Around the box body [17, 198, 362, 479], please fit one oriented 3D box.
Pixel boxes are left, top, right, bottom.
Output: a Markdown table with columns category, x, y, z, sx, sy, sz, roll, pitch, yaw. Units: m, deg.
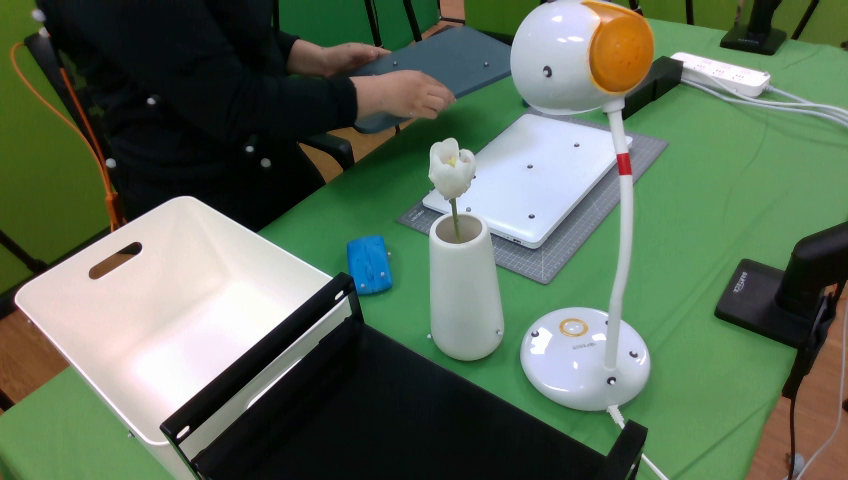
| category | x | y | z | sx | sy | sz | roll | pitch | yaw |
| --- | --- | --- | --- | --- | --- | --- | --- | --- | --- |
| box body | -0.285 | 0.123 | 0.766 | 0.361 | 0.161 | 0.255 | 25 | 49 | 33 |

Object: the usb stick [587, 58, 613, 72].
| category | x | y | z | sx | sy | sz | roll | pitch | yaw |
| --- | --- | --- | --- | --- | --- | --- | --- | --- | --- |
| usb stick | 0.401 | -0.399 | 1.381 | 0.059 | 0.027 | 0.021 | 0 | 49 | 21 |

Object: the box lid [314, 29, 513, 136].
| category | x | y | z | sx | sy | sz | roll | pitch | yaw |
| --- | --- | --- | --- | --- | --- | --- | --- | --- | --- |
| box lid | -0.006 | -0.316 | 1.169 | 0.373 | 0.015 | 0.261 | -27 | 42 | -17 |

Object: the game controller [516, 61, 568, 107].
| category | x | y | z | sx | sy | sz | roll | pitch | yaw |
| --- | --- | --- | --- | --- | --- | --- | --- | --- | --- |
| game controller | 0.259 | -0.352 | 1.336 | 0.097 | 0.052 | 0.154 | -3 | 41 | 2 |

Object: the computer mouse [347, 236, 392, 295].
| category | x | y | z | sx | sy | sz | roll | pitch | yaw |
| --- | --- | --- | --- | --- | --- | --- | --- | --- | --- |
| computer mouse | -0.086 | 0.035 | 0.936 | 0.063 | 0.041 | 0.116 | -8 | 44 | -5 |

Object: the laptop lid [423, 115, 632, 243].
| category | x | y | z | sx | sy | sz | roll | pitch | yaw |
| --- | --- | --- | --- | --- | --- | --- | --- | --- | --- |
| laptop lid | 0.190 | -0.126 | 1.081 | 0.239 | 0.013 | 0.358 | 23 | 48 | 34 |

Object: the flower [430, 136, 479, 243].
| category | x | y | z | sx | sy | sz | roll | pitch | yaw |
| --- | --- | --- | --- | --- | --- | --- | --- | --- | --- |
| flower | 0.041 | 0.012 | 0.690 | 0.044 | 0.363 | 0.038 | 16 | 62 | 14 |

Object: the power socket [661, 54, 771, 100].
| category | x | y | z | sx | sy | sz | roll | pitch | yaw |
| --- | --- | --- | --- | --- | --- | --- | --- | --- | --- |
| power socket | 0.615 | -0.348 | 1.285 | 0.072 | 0.033 | 0.225 | -36 | 48 | -29 |

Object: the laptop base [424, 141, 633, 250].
| category | x | y | z | sx | sy | sz | roll | pitch | yaw |
| --- | --- | --- | --- | --- | --- | --- | --- | --- | --- |
| laptop base | 0.194 | -0.117 | 1.088 | 0.233 | 0.023 | 0.355 | 21 | 48 | 34 |

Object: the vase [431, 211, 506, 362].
| category | x | y | z | sx | sy | sz | roll | pitch | yaw |
| --- | --- | --- | --- | --- | --- | --- | --- | --- | --- |
| vase | 0.054 | 0.062 | 0.757 | 0.098 | 0.201 | 0.097 | -3 | 40 | 3 |

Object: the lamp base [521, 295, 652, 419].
| category | x | y | z | sx | sy | sz | roll | pitch | yaw |
| --- | --- | --- | --- | --- | --- | --- | --- | --- | --- |
| lamp base | 0.201 | 0.095 | 0.710 | 0.161 | 0.181 | 0.177 | -16 | 43 | -10 |

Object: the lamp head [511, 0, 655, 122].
| category | x | y | z | sx | sy | sz | roll | pitch | yaw |
| --- | --- | --- | --- | --- | --- | --- | --- | --- | --- |
| lamp head | 0.155 | -0.168 | 0.564 | 0.113 | 0.113 | 0.122 | -18 | 23 | -12 |

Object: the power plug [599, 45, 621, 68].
| category | x | y | z | sx | sy | sz | roll | pitch | yaw |
| --- | --- | --- | --- | --- | --- | --- | --- | --- | --- |
| power plug | 0.437 | -0.422 | 1.412 | 0.053 | 0.035 | 0.072 | -17 | 74 | -47 |
